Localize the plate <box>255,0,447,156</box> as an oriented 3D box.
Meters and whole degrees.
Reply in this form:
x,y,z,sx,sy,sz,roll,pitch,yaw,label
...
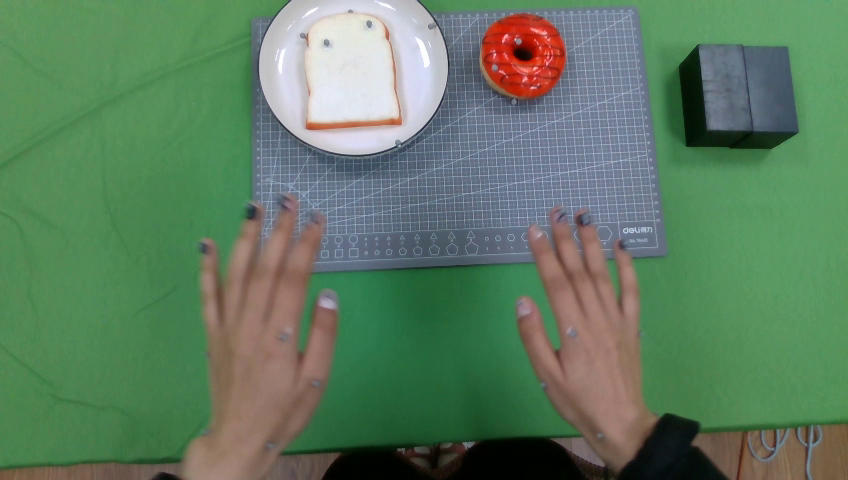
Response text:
x,y,z,sx,sy,sz,roll,pitch,yaw,label
-0.079,-0.189,0.670,0.209,0.038,0.208,0,80,-2,plate

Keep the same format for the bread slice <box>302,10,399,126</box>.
x,y,z,sx,sy,sz,roll,pitch,yaw,label
-0.086,-0.193,0.673,0.105,0.019,0.131,-6,81,-4,bread slice

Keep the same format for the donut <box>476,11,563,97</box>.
x,y,z,sx,sy,sz,roll,pitch,yaw,label
0.106,-0.207,0.677,0.099,0.048,0.098,1,80,-4,donut
